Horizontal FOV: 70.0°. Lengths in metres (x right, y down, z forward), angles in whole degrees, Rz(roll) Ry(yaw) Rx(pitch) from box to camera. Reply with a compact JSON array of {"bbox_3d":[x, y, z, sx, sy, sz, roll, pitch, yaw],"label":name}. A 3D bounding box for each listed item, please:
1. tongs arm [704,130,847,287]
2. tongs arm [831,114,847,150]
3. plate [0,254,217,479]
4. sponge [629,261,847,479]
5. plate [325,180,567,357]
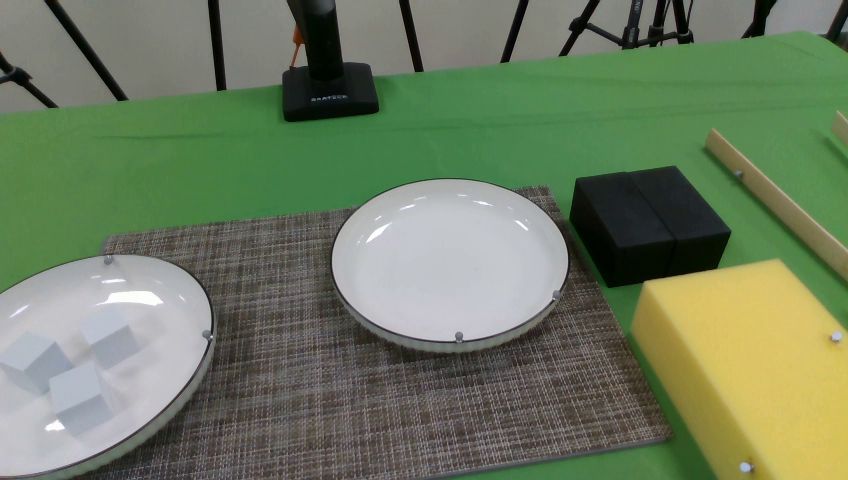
[{"bbox_3d":[0.378,0.007,0.557,0.028,0.028,0.383,-10,43,-13],"label":"tongs arm"},{"bbox_3d":[0.459,-0.004,0.561,0.051,0.027,0.380,-3,44,0],"label":"tongs arm"},{"bbox_3d":[-0.263,0.094,0.465,0.209,0.038,0.207,-1,42,1],"label":"plate"},{"bbox_3d":[0.247,0.113,0.421,0.118,0.061,0.204,-10,43,-8],"label":"sponge"},{"bbox_3d":[0.019,0.024,0.536,0.208,0.039,0.205,0,42,1],"label":"plate"}]
